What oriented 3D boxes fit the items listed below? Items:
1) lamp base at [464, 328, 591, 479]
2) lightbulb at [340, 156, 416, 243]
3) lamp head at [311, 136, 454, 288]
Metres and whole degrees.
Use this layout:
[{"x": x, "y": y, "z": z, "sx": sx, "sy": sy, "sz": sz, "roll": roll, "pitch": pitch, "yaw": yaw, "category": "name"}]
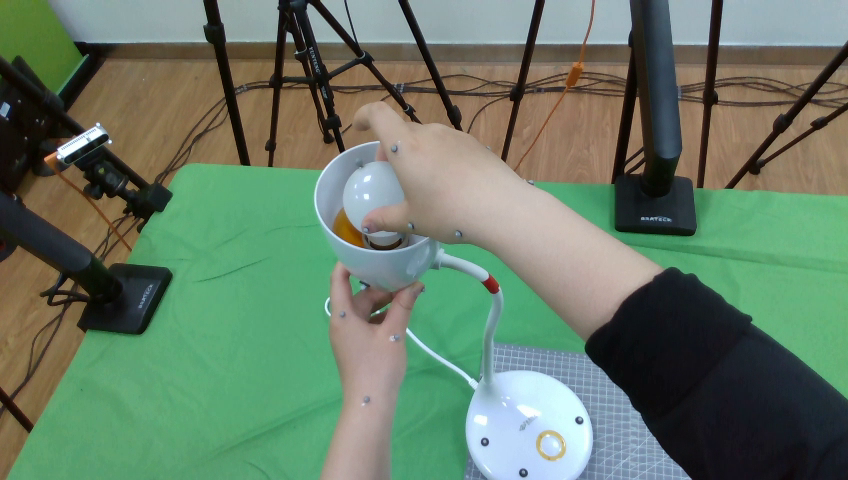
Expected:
[{"x": 0.112, "y": 0.184, "z": 0.721, "sx": 0.177, "sy": 0.182, "sz": 0.160, "roll": 28, "pitch": 62, "yaw": 29, "category": "lamp base"}, {"x": -0.037, "y": -0.026, "z": 0.499, "sx": 0.059, "sy": 0.108, "sz": 0.059, "roll": 1, "pitch": 64, "yaw": -2, "category": "lightbulb"}, {"x": -0.030, "y": -0.010, "z": 0.525, "sx": 0.112, "sy": 0.124, "sz": 0.111, "roll": -3, "pitch": 57, "yaw": 4, "category": "lamp head"}]
